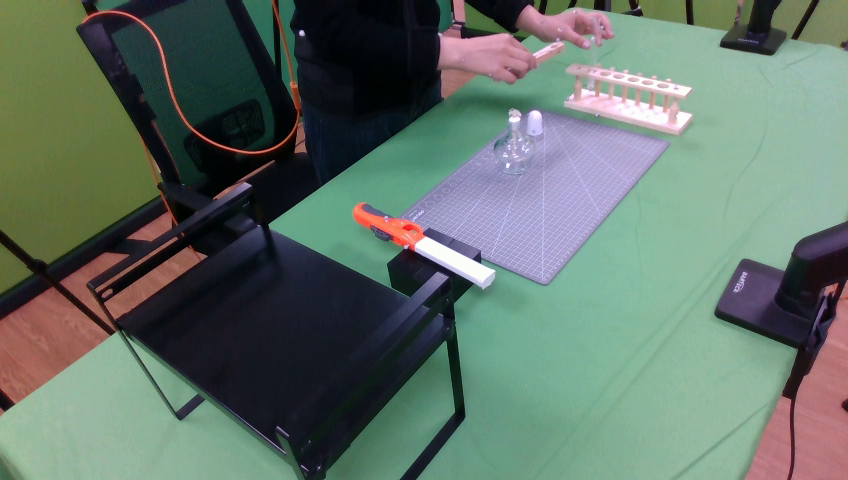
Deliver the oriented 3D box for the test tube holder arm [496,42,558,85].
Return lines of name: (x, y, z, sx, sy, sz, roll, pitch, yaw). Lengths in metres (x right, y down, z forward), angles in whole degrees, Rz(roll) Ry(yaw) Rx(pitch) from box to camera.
test tube holder arm: (0.191, -0.323, 1.107, 0.179, 0.015, 0.013, -35, 57, -29)

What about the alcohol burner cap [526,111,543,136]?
alcohol burner cap: (0.219, -0.232, 1.196, 0.034, 0.048, 0.033, -4, 41, 4)

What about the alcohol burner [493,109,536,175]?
alcohol burner: (0.163, -0.179, 1.087, 0.078, 0.119, 0.077, -5, 39, 5)

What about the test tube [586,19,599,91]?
test tube: (0.329, -0.359, 1.182, 0.017, 0.151, 0.017, -5, 46, 5)

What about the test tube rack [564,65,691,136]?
test tube rack: (0.404, -0.287, 1.204, 0.240, 0.085, 0.067, 24, 49, 32)

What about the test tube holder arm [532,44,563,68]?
test tube holder arm: (0.228, -0.343, 1.127, 0.088, 0.015, 0.010, -34, 56, -29)

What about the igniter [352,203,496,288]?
igniter: (-0.011, 0.002, 0.899, 0.274, 0.025, 0.057, 27, 45, 33)
